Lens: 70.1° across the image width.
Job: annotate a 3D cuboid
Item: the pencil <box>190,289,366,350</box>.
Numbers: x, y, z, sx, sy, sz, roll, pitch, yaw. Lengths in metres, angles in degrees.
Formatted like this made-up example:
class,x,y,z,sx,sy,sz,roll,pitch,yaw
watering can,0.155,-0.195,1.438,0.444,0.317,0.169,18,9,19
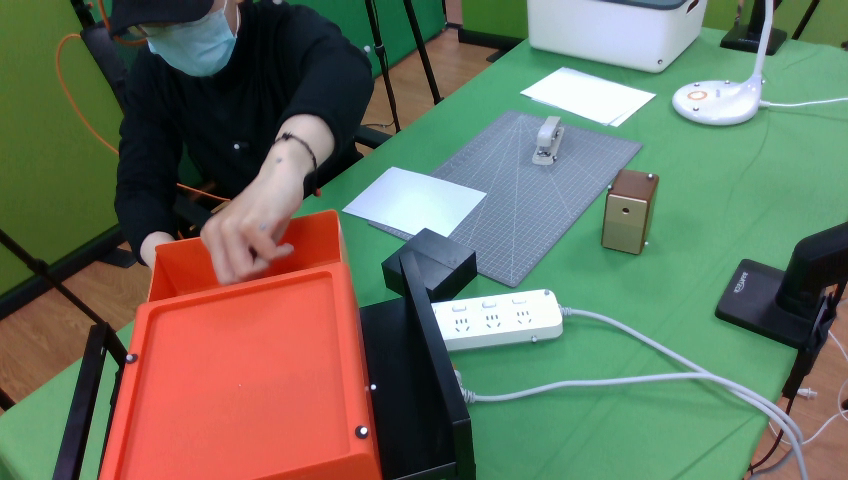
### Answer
class,x,y,z,sx,sy,sz,roll,pitch,yaw
pencil,-0.150,0.078,0.612,0.193,0.012,0.012,16,45,9

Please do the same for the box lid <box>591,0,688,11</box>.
class,x,y,z,sx,sy,sz,roll,pitch,yaw
box lid,0.441,-0.595,1.383,0.368,0.015,0.264,24,49,31

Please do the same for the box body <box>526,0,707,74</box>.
class,x,y,z,sx,sy,sz,roll,pitch,yaw
box body,0.450,-0.540,1.430,0.361,0.161,0.255,24,50,31

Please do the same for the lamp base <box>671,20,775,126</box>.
class,x,y,z,sx,sy,sz,roll,pitch,yaw
lamp base,0.582,-0.331,1.153,0.179,0.181,0.160,2,42,7

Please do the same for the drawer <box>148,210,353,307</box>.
class,x,y,z,sx,sy,sz,roll,pitch,yaw
drawer,-0.167,0.075,0.589,0.195,0.073,0.210,-11,41,-5

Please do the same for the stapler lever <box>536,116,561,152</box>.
class,x,y,z,sx,sy,sz,roll,pitch,yaw
stapler lever,0.236,-0.208,1.140,0.026,0.040,0.118,10,43,18

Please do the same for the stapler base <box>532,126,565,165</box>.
class,x,y,z,sx,sy,sz,roll,pitch,yaw
stapler base,0.238,-0.189,1.154,0.041,0.024,0.130,10,42,18

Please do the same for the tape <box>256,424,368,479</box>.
class,x,y,z,sx,sy,sz,roll,pitch,yaw
tape,-0.121,0.264,0.659,0.117,0.053,0.116,-5,39,4

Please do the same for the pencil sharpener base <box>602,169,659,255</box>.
class,x,y,z,sx,sy,sz,roll,pitch,yaw
pencil sharpener base,0.312,-0.044,0.913,0.061,0.107,0.077,14,44,24

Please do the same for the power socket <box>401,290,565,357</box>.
class,x,y,z,sx,sy,sz,roll,pitch,yaw
power socket,0.080,0.113,0.821,0.227,0.033,0.072,-6,41,0

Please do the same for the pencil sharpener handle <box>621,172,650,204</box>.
class,x,y,z,sx,sy,sz,roll,pitch,yaw
pencil sharpener handle,0.328,-0.086,0.940,0.036,0.068,0.030,30,49,7

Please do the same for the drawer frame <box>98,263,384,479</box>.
class,x,y,z,sx,sy,sz,roll,pitch,yaw
drawer frame,-0.148,0.130,0.518,0.202,0.083,0.212,-12,41,-6

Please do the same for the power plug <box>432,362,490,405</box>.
class,x,y,z,sx,sy,sz,roll,pitch,yaw
power plug,0.044,0.182,0.759,0.073,0.035,0.052,25,41,-20
